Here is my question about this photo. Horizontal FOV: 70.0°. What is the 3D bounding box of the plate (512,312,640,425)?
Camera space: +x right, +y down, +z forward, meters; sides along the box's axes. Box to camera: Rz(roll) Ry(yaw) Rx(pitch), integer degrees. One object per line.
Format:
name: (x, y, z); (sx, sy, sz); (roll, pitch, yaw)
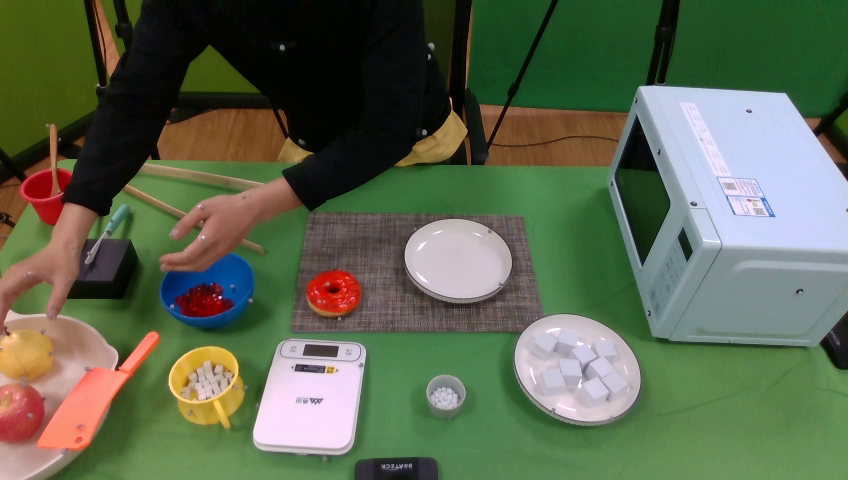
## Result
plate: (0.246, 0.213, 0.999); (0.208, 0.039, 0.206); (2, 46, -2)

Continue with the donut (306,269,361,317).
donut: (-0.160, 0.094, 1.075); (0.099, 0.048, 0.098); (4, 46, -4)

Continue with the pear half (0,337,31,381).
pear half: (-0.632, 0.185, 0.920); (0.070, 0.088, 0.031); (30, 49, 20)

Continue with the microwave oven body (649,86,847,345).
microwave oven body: (0.567, -0.053, 1.118); (0.326, 0.261, 0.439); (2, 45, -1)

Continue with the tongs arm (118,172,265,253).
tongs arm: (-0.472, -0.054, 1.211); (0.386, 0.028, 0.028); (23, 56, 18)

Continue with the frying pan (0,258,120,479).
frying pan: (-0.647, 0.164, 0.936); (0.307, 0.103, 0.485); (-19, 58, -22)

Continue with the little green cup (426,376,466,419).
little green cup: (0.033, 0.248, 0.950); (0.061, 0.039, 0.061); (2, 46, -2)

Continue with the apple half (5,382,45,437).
apple half: (-0.567, 0.244, 0.877); (0.033, 0.082, 0.080); (-8, 47, -8)

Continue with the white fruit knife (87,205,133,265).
white fruit knife: (-0.584, -0.013, 1.129); (0.016, 0.027, 0.206); (0, 31, -5)

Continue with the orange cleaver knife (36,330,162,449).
orange cleaver knife: (-0.466, 0.210, 0.880); (0.077, 0.012, 0.210); (15, 46, 9)

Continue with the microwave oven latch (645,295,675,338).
microwave oven latch: (0.411, 0.134, 1.061); (0.030, 0.029, 0.078); (3, 45, 0)

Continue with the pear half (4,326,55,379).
pear half: (-0.609, 0.159, 0.933); (0.076, 0.110, 0.056); (31, 51, 20)

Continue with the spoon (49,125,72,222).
spoon: (-0.718, -0.131, 1.189); (0.041, 0.021, 0.193); (-4, 91, -6)

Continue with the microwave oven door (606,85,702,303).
microwave oven door: (0.422, -0.094, 1.140); (0.039, 0.245, 0.353); (2, 46, -1)

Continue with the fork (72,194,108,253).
fork: (-0.634, -0.036, 1.158); (0.028, 0.019, 0.206); (-8, 32, -8)

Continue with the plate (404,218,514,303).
plate: (0.064, 0.042, 1.146); (0.209, 0.038, 0.208); (2, 46, -2)

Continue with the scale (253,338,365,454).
scale: (-0.175, 0.236, 0.951); (0.149, 0.032, 0.199); (4, 45, 0)

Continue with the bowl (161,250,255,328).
bowl: (-0.362, 0.098, 1.039); (0.151, 0.077, 0.150); (2, 45, -2)

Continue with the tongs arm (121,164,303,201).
tongs arm: (-0.444, -0.114, 1.266); (0.384, 0.026, 0.050); (11, 50, 8)

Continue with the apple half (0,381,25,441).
apple half: (-0.605, 0.250, 0.871); (0.053, 0.075, 0.080); (-9, 51, -7)

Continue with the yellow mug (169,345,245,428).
yellow mug: (-0.322, 0.230, 0.922); (0.100, 0.064, 0.130); (-24, 53, -25)
